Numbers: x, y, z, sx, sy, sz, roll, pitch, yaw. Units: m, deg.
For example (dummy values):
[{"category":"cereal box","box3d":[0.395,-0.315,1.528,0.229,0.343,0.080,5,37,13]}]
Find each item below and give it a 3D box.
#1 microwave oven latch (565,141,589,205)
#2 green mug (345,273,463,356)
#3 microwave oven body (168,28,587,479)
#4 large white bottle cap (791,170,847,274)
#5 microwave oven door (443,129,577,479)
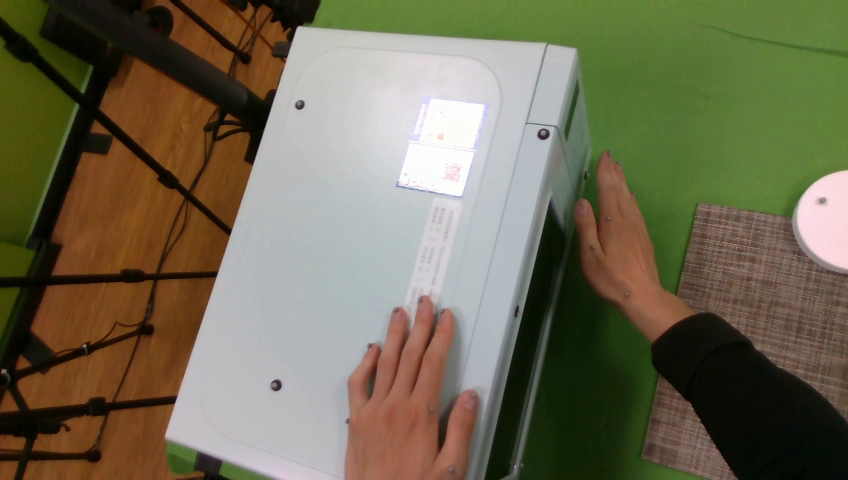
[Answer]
[{"category":"microwave oven latch","box3d":[0.181,-0.084,0.738,0.030,0.030,0.079,11,80,20]},{"category":"green mug","box3d":[-0.019,0.083,0.681,0.125,0.105,0.092,-3,79,11]},{"category":"microwave oven body","box3d":[-0.030,0.034,0.673,0.324,0.262,0.440,11,81,20]},{"category":"large white bottle cap","box3d":[0.462,-0.020,0.652,0.114,0.018,0.114,-5,74,17]},{"category":"microwave oven door","box3d":[0.092,0.099,0.610,0.039,0.246,0.354,11,80,21]}]
